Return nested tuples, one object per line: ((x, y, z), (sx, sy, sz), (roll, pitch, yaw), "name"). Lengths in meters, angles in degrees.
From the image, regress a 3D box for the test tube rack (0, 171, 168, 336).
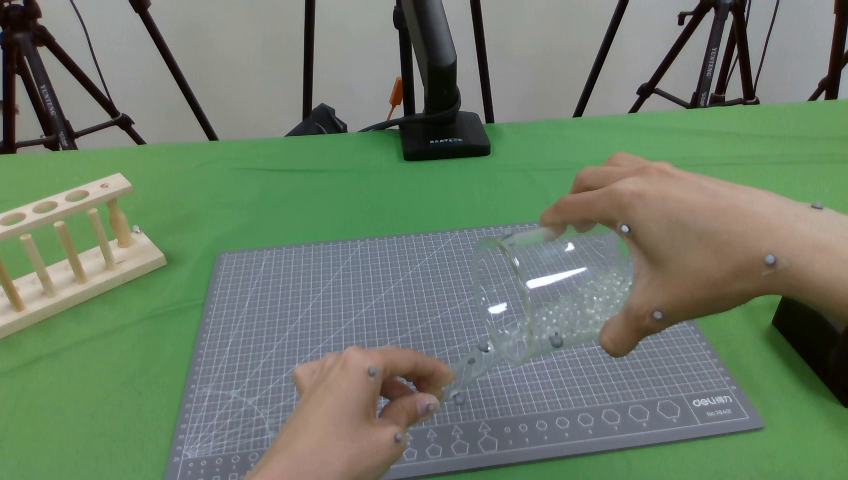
((-0.383, 0.024, 0.571), (0.242, 0.086, 0.066), (-29, 45, -32), "test tube rack")

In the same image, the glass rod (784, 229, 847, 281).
((0.373, 0.046, 0.502), (0.008, 0.008, 0.197), (-11, 37, -13), "glass rod")

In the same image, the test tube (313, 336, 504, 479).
((-0.012, 0.108, 0.378), (0.150, 0.017, 0.017), (-39, 37, 12), "test tube")

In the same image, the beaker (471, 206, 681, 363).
((0.087, 0.024, 0.351), (0.100, 0.085, 0.073), (-13, 43, -15), "beaker")
